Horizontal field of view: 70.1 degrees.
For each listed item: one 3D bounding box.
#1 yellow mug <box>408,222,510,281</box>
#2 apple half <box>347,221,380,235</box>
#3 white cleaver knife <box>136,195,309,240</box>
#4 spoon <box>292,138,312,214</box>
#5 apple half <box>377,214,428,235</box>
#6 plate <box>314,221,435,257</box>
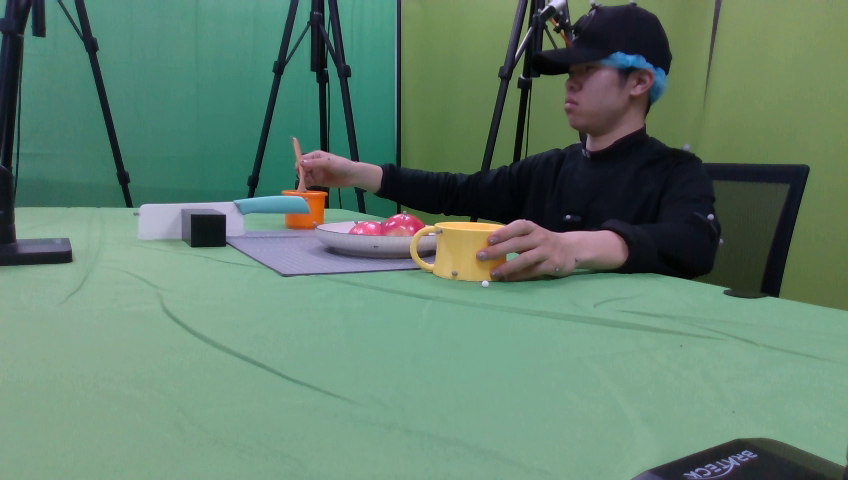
[{"bbox_3d":[0.044,0.012,0.784,0.131,0.064,0.100,2,6,4],"label":"yellow mug"},{"bbox_3d":[-0.089,-0.014,0.985,0.081,0.033,0.081,5,6,0],"label":"apple half"},{"bbox_3d":[-0.337,-0.039,1.037,0.288,0.066,0.021,-6,15,-29],"label":"white cleaver knife"},{"bbox_3d":[-0.258,-0.136,1.263,0.042,0.193,0.021,15,-35,-42],"label":"spoon"},{"bbox_3d":[-0.034,-0.013,0.924,0.080,0.053,0.075,5,10,16],"label":"apple half"},{"bbox_3d":[-0.067,-0.002,0.948,0.209,0.038,0.209,3,7,0],"label":"plate"}]
